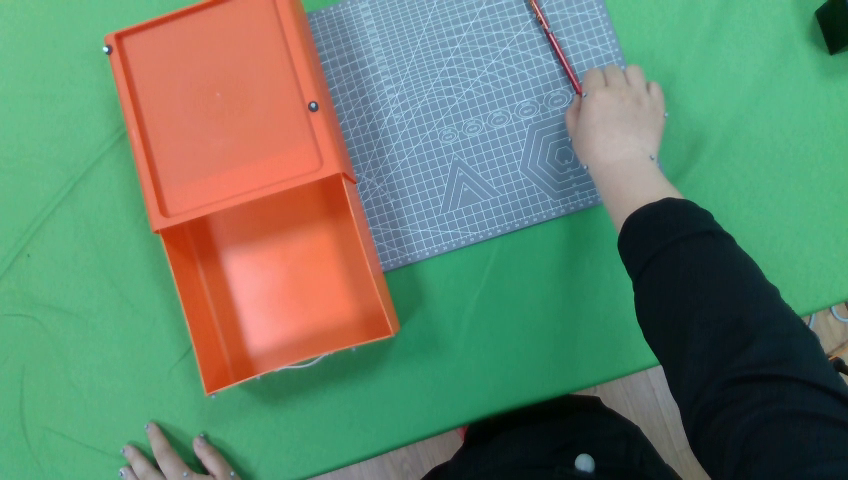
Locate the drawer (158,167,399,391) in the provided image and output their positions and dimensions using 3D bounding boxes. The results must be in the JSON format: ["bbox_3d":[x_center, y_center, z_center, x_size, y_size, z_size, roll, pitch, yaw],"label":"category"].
[{"bbox_3d":[-0.150,0.023,0.619,0.194,0.073,0.211,-18,87,5],"label":"drawer"}]

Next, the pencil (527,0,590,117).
[{"bbox_3d":[0.132,-0.217,0.641,0.012,0.012,0.193,-26,87,3],"label":"pencil"}]

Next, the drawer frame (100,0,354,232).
[{"bbox_3d":[-0.201,-0.133,0.628,0.201,0.083,0.213,-18,84,4],"label":"drawer frame"}]
